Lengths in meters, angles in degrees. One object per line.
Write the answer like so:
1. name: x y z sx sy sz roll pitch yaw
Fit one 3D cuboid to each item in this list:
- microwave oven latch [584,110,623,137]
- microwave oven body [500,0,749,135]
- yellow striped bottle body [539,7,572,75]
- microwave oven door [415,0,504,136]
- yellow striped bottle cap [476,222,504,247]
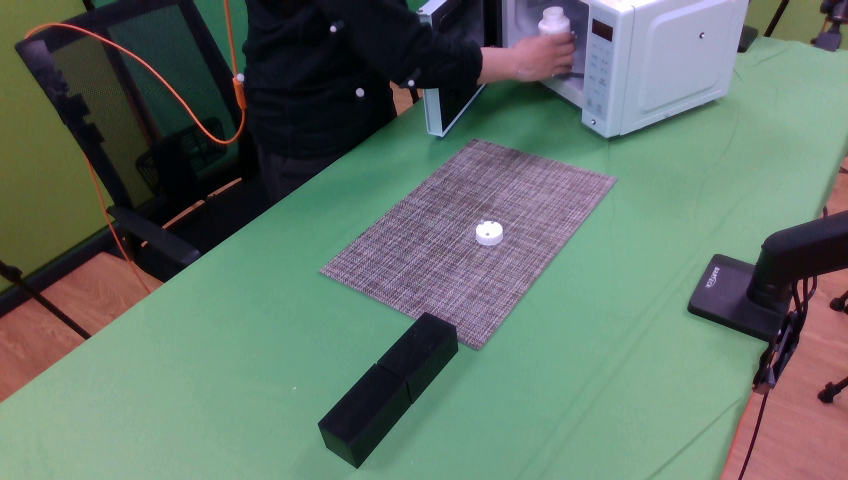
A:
1. microwave oven latch: 0.337 -0.222 1.142 0.030 0.029 0.078 -21 42 -14
2. microwave oven body: 0.381 -0.444 1.246 0.327 0.261 0.437 -22 42 -16
3. yellow striped bottle body: 0.263 -0.400 1.211 0.063 0.121 0.062 -8 42 8
4. microwave oven door: 0.084 -0.408 1.239 0.039 0.245 0.356 13 45 23
5. yellow striped bottle cap: 0.105 -0.010 0.966 0.044 0.019 0.044 -4 39 3
